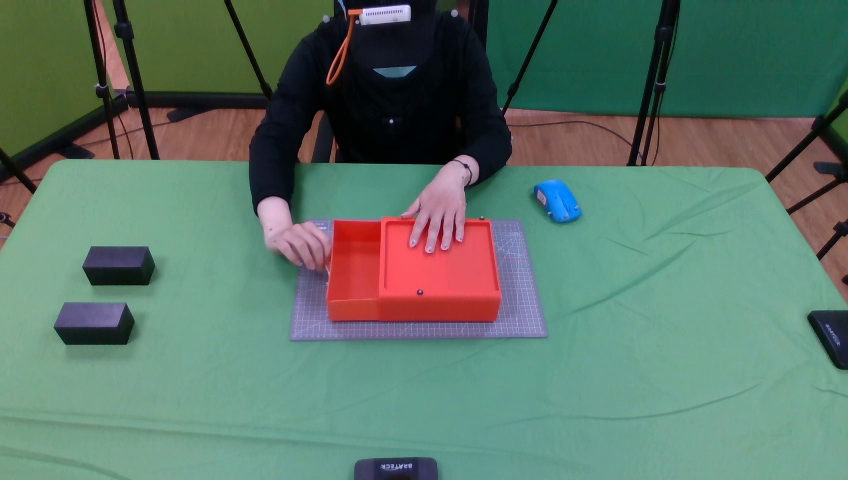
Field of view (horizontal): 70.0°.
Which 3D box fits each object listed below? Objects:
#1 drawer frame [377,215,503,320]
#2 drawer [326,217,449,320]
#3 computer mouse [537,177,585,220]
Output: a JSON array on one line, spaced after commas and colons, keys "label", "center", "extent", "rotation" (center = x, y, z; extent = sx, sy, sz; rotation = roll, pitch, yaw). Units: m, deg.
[{"label": "drawer frame", "center": [0.023, 0.048, 1.103], "extent": [0.214, 0.083, 0.200], "rotation": [1, 46, -4]}, {"label": "drawer", "center": [-0.066, 0.048, 1.095], "extent": [0.212, 0.073, 0.193], "rotation": [0, 46, -3]}, {"label": "computer mouse", "center": [0.291, -0.092, 1.288], "extent": [0.063, 0.041, 0.116], "rotation": [-13, 52, -18]}]
